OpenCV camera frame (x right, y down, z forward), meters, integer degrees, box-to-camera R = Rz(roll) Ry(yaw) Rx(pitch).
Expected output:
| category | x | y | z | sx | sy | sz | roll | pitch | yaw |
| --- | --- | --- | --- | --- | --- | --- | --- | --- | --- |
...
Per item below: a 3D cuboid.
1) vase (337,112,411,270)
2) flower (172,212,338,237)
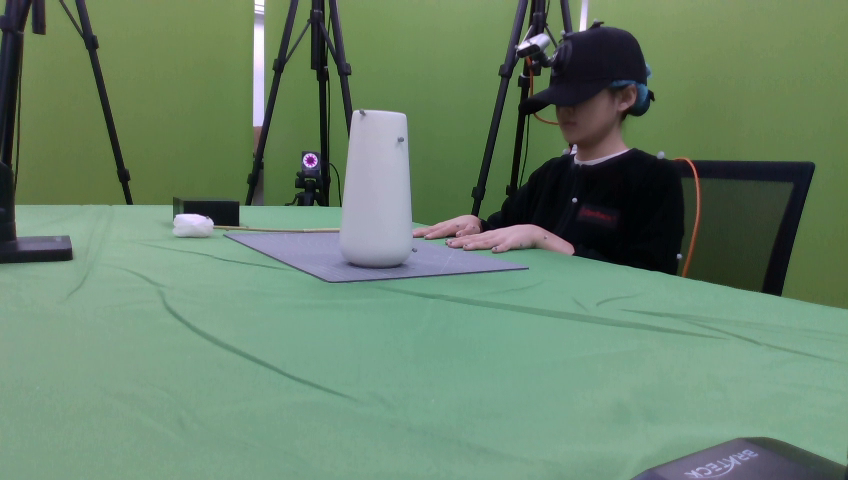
| category | x | y | z | sx | sy | sz | roll | pitch | yaw |
| --- | --- | --- | --- | --- | --- | --- | --- | --- | --- |
| vase | -0.064 | -0.064 | 0.790 | 0.098 | 0.200 | 0.098 | 2 | 7 | 0 |
| flower | -0.254 | -0.017 | 1.079 | 0.364 | 0.038 | 0.044 | 4 | 39 | -31 |
